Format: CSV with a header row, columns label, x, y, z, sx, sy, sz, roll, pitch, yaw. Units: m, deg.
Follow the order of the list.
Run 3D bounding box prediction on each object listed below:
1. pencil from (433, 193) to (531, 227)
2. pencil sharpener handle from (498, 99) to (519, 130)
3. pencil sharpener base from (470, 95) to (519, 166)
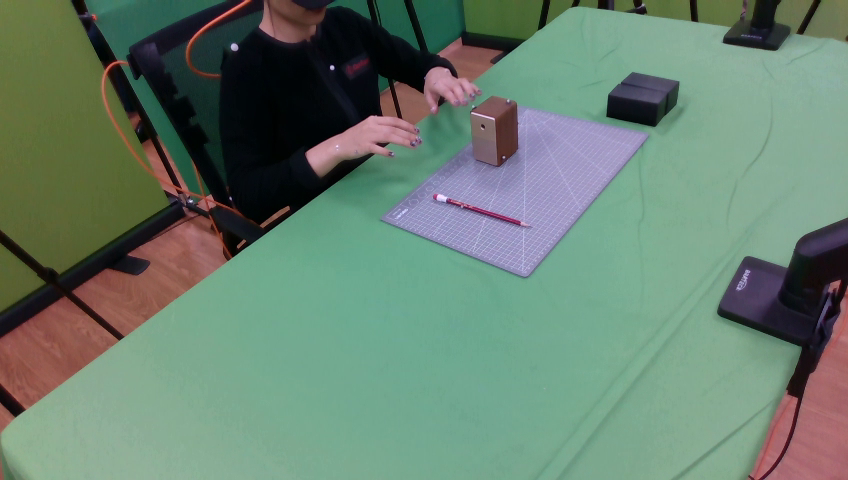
label,x,y,z,sx,sy,sz,roll,pitch,yaw
pencil,0.096,-0.050,1.028,0.192,0.012,0.012,20,49,29
pencil sharpener handle,0.165,-0.243,1.148,0.035,0.068,0.031,21,49,35
pencil sharpener base,0.134,-0.205,1.128,0.061,0.107,0.077,23,50,33
